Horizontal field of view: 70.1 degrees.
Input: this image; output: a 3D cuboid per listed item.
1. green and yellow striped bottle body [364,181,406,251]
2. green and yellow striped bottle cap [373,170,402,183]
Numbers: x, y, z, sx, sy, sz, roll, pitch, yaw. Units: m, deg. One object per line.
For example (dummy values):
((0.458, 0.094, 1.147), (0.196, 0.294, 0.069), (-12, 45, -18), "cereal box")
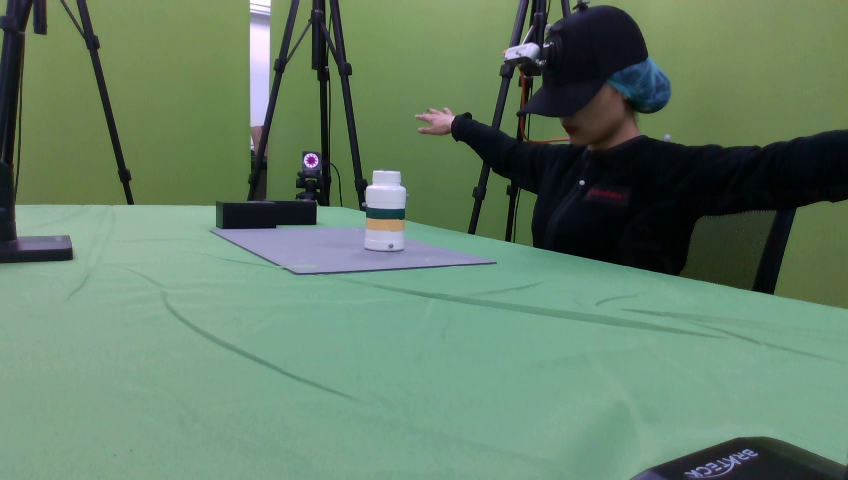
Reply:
((-0.060, -0.046, 0.935), (0.063, 0.119, 0.063), (3, 8, 0), "green and yellow striped bottle body")
((-0.057, -0.097, 0.929), (0.045, 0.020, 0.045), (1, 9, 0), "green and yellow striped bottle cap")
